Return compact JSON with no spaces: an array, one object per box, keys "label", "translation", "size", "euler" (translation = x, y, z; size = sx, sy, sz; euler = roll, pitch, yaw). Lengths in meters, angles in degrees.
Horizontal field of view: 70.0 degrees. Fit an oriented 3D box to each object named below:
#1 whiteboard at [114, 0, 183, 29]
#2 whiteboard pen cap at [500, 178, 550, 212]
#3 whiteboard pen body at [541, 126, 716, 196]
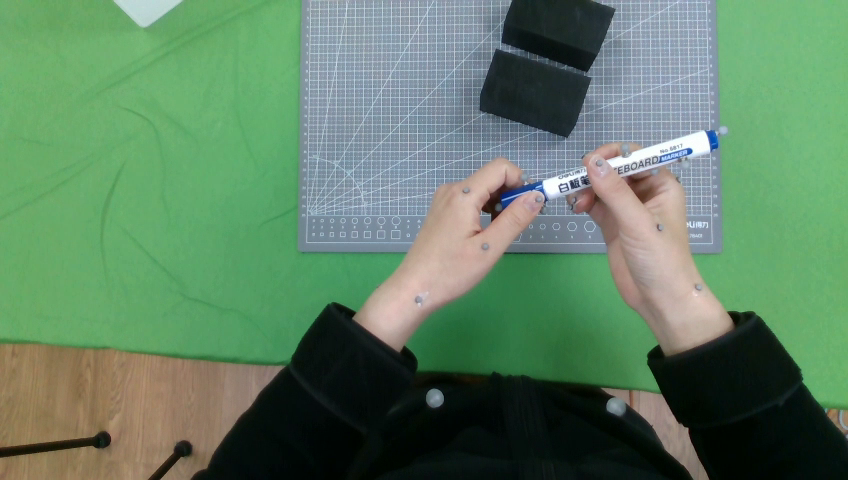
[{"label":"whiteboard","translation":[-0.307,-0.405,0.576],"size":[0.217,0.308,0.142],"euler":[-35,65,1]},{"label":"whiteboard pen cap","translation":[0.073,-0.033,0.434],"size":[0.033,0.018,0.018],"euler":[-18,85,21]},{"label":"whiteboard pen body","translation":[0.126,-0.049,0.415],"size":[0.140,0.017,0.017],"euler":[-17,85,17]}]
